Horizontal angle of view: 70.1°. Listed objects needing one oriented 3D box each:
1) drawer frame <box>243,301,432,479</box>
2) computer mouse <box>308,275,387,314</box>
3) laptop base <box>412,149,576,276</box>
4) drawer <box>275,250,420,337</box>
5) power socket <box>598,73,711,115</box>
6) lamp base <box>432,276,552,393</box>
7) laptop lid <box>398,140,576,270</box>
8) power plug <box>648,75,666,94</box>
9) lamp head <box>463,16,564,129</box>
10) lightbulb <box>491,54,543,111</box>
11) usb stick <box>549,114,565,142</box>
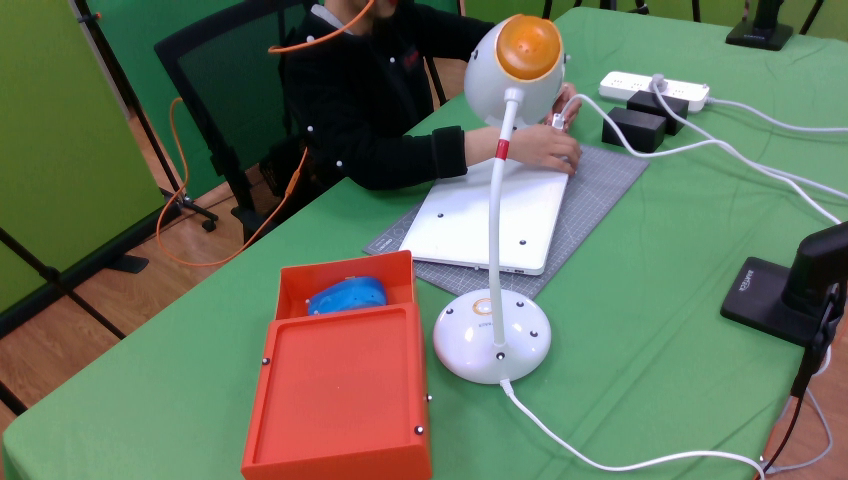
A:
[{"bbox_3d":[-0.096,0.185,0.738,0.202,0.083,0.212,-8,40,1],"label":"drawer frame"},{"bbox_3d":[-0.113,0.089,0.881,0.117,0.041,0.062,-16,43,-1],"label":"computer mouse"},{"bbox_3d":[0.123,-0.069,1.049,0.234,0.023,0.354,4,42,20],"label":"laptop base"},{"bbox_3d":[-0.104,0.117,0.825,0.194,0.073,0.210,-8,40,1],"label":"drawer"},{"bbox_3d":[0.470,-0.303,1.249,0.225,0.033,0.072,20,49,30],"label":"power socket"},{"bbox_3d":[0.085,0.075,0.756,0.161,0.181,0.178,-14,44,-5],"label":"lamp base"},{"bbox_3d":[0.119,-0.078,1.042,0.240,0.013,0.356,6,42,21],"label":"laptop lid"},{"bbox_3d":[0.457,-0.301,1.212,0.073,0.053,0.035,-36,47,-28],"label":"power plug"},{"bbox_3d":[0.101,-0.184,0.655,0.112,0.112,0.123,-9,1,0],"label":"lamp head"},{"bbox_3d":[0.107,-0.181,0.679,0.059,0.059,0.108,-9,-2,1],"label":"lightbulb"},{"bbox_3d":[0.254,-0.209,1.157,0.021,0.027,0.059,12,70,5],"label":"usb stick"}]
